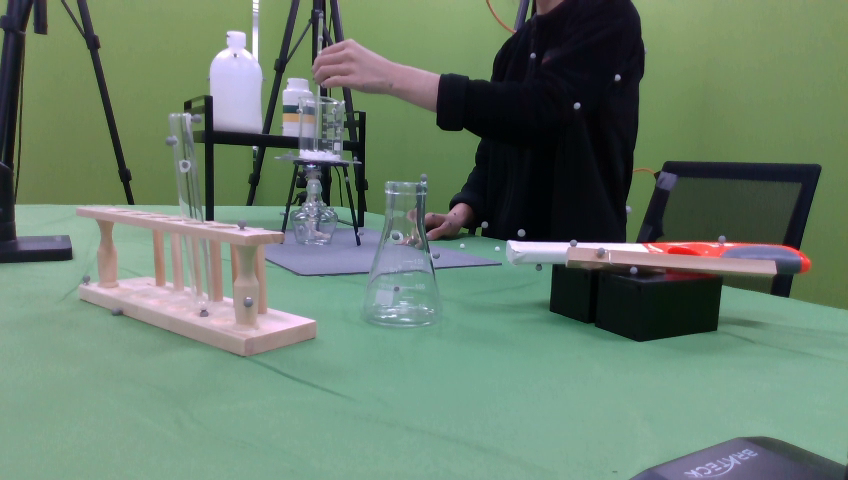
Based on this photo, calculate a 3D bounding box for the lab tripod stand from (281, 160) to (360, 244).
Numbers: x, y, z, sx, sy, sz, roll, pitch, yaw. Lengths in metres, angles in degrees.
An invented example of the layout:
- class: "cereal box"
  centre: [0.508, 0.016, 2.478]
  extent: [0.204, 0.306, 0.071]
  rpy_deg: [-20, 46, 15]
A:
- class: "lab tripod stand"
  centre: [-0.170, -0.063, 0.983]
  extent: [0.148, 0.131, 0.148]
  rpy_deg: [1, 6, 0]

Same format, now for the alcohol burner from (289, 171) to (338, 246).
- class: "alcohol burner"
  centre: [-0.177, -0.051, 0.968]
  extent: [0.078, 0.119, 0.078]
  rpy_deg: [1, 6, 0]

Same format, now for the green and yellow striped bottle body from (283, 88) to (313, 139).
- class: "green and yellow striped bottle body"
  centre: [-0.265, -0.275, 1.275]
  extent: [0.063, 0.119, 0.063]
  rpy_deg: [3, 7, 0]

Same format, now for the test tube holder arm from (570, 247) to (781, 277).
- class: "test tube holder arm"
  centre: [0.217, 0.019, 0.524]
  extent: [0.178, 0.015, 0.013]
  rpy_deg: [3, -23, 3]

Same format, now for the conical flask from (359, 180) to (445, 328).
- class: "conical flask"
  centre: [-0.017, 0.010, 0.522]
  extent: [0.075, 0.122, 0.075]
  rpy_deg: [2, 7, 0]

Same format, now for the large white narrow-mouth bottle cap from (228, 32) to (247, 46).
- class: "large white narrow-mouth bottle cap"
  centre: [-0.364, -0.390, 1.180]
  extent: [0.038, 0.024, 0.037]
  rpy_deg: [4, 8, 0]

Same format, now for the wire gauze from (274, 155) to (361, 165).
- class: "wire gauze"
  centre: [-0.174, -0.129, 0.978]
  extent: [0.125, 0.011, 0.121]
  rpy_deg: [-2, 6, -19]

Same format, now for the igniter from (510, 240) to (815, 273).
- class: "igniter"
  centre: [0.220, 0.015, 0.566]
  extent: [0.277, 0.025, 0.057]
  rpy_deg: [2, 16, 0]

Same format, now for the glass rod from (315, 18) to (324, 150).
- class: "glass rod"
  centre: [-0.162, -0.239, 0.938]
  extent: [0.008, 0.199, 0.008]
  rpy_deg: [5, 14, -1]

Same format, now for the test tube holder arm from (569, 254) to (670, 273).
- class: "test tube holder arm"
  centre: [0.172, 0.019, 0.532]
  extent: [0.088, 0.015, 0.010]
  rpy_deg: [3, -23, 4]

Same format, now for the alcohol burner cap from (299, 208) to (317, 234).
- class: "alcohol burner cap"
  centre: [-0.213, -0.035, 1.109]
  extent: [0.034, 0.048, 0.034]
  rpy_deg: [2, 7, 0]

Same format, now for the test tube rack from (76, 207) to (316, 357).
- class: "test tube rack"
  centre: [-0.196, 0.023, 0.500]
  extent: [0.241, 0.085, 0.067]
  rpy_deg: [8, 9, 36]

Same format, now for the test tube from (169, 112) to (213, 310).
- class: "test tube"
  centre: [-0.175, -0.020, 0.455]
  extent: [0.017, 0.150, 0.017]
  rpy_deg: [-3, 9, 1]

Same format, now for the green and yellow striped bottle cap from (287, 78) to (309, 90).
- class: "green and yellow striped bottle cap"
  centre: [-0.265, -0.326, 1.268]
  extent: [0.045, 0.020, 0.045]
  rpy_deg: [4, 6, 0]

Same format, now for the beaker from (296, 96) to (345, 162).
- class: "beaker"
  centre: [-0.163, -0.175, 0.966]
  extent: [0.083, 0.100, 0.074]
  rpy_deg: [7, 8, 34]

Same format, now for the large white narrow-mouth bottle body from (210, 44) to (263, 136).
- class: "large white narrow-mouth bottle body"
  centre: [-0.369, -0.305, 1.194]
  extent: [0.102, 0.194, 0.102]
  rpy_deg: [3, 8, 0]
